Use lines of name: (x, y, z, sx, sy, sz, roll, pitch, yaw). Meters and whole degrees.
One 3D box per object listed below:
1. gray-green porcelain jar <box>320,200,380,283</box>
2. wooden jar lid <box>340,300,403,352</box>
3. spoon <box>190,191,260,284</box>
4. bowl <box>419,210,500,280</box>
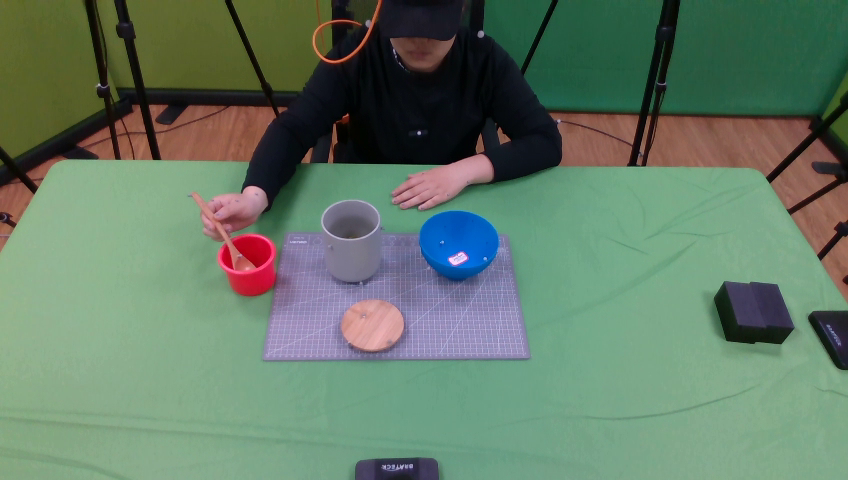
gray-green porcelain jar: (-0.132, 0.007, 1.106, 0.106, 0.127, 0.105, 2, 46, -2)
wooden jar lid: (-0.090, 0.150, 1.046, 0.108, 0.021, 0.107, 3, 47, -3)
spoon: (-0.352, -0.004, 1.070, 0.041, 0.021, 0.194, -38, 102, -45)
bowl: (0.062, 0.022, 1.140, 0.151, 0.077, 0.150, 2, 46, -2)
